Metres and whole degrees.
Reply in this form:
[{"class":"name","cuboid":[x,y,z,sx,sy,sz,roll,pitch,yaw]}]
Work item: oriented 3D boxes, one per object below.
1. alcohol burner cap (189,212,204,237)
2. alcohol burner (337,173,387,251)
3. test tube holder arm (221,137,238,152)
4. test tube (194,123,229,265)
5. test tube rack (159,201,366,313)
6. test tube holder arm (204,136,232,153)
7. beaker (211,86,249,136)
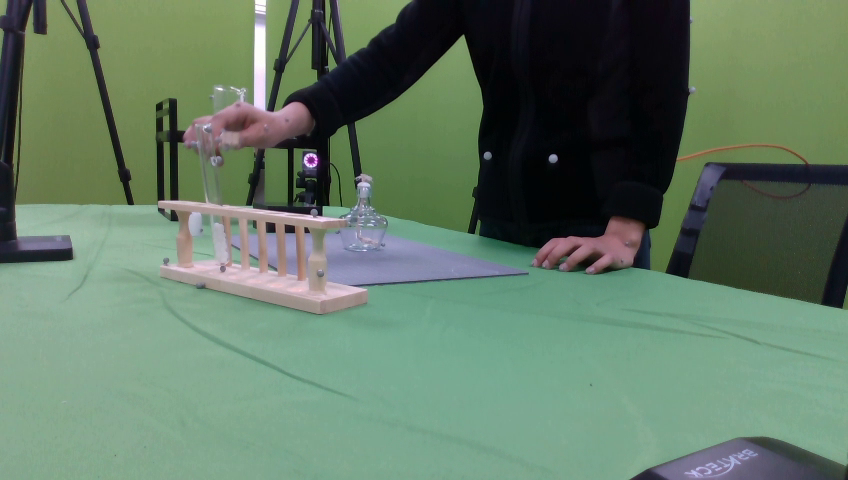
[{"class":"alcohol burner cap","cuboid":[-0.390,-0.029,1.025,0.034,0.048,0.034,2,9,0]},{"class":"alcohol burner","cuboid":[-0.095,-0.043,0.926,0.078,0.119,0.078,3,6,0]},{"class":"test tube holder arm","cuboid":[-0.233,-0.113,0.717,0.010,0.015,0.087,12,0,-27]},{"class":"test tube","cuboid":[-0.218,-0.045,0.624,0.017,0.150,0.017,-2,19,1]},{"class":"test tube rack","cuboid":[-0.173,0.009,0.624,0.241,0.085,0.067,7,9,34]},{"class":"test tube holder arm","cuboid":[-0.258,-0.118,0.754,0.013,0.015,0.177,12,0,-28]},{"class":"beaker","cuboid":[-0.413,-0.274,1.297,0.074,0.100,0.083,-5,11,-44]}]
